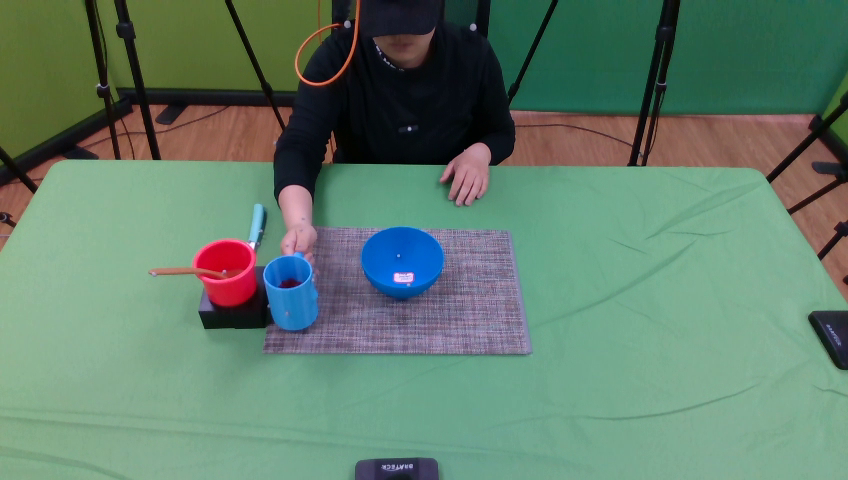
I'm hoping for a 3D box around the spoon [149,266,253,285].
[{"bbox_3d":[-0.351,0.052,0.968,0.041,0.021,0.194,41,12,28],"label":"spoon"}]

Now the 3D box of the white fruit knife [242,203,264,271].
[{"bbox_3d":[-0.334,0.001,1.178,0.027,0.016,0.206,-18,46,16],"label":"white fruit knife"}]

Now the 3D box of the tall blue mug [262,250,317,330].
[{"bbox_3d":[-0.225,0.076,1.013,0.078,0.108,0.106,-14,49,-15],"label":"tall blue mug"}]

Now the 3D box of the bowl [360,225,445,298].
[{"bbox_3d":[-0.040,0.053,1.099,0.151,0.077,0.150,2,46,-2],"label":"bowl"}]
